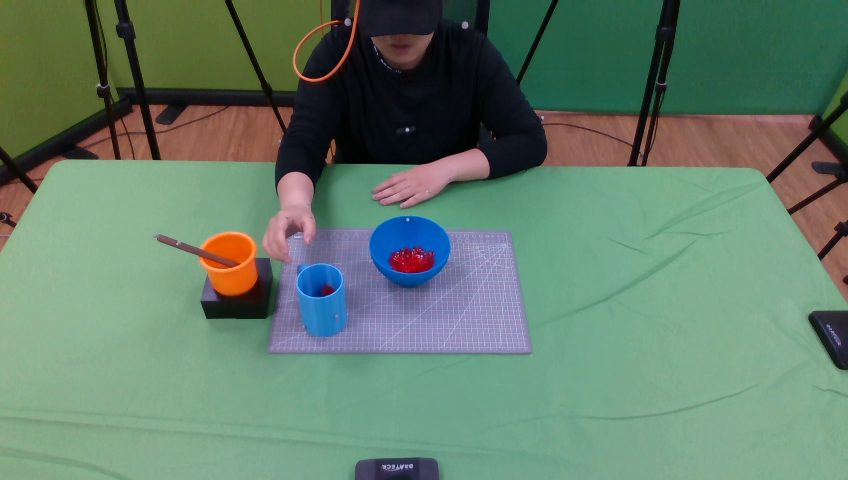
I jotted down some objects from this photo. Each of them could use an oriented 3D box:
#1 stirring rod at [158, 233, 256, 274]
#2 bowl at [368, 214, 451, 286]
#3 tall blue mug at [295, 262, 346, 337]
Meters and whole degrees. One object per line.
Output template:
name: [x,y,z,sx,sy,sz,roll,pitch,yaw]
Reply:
stirring rod: [-0.353,0.024,1.000,0.177,0.006,0.014,26,32,-41]
bowl: [-0.028,0.031,1.122,0.151,0.077,0.150,2,46,-2]
tall blue mug: [-0.187,0.096,1.027,0.107,0.108,0.077,21,49,16]
